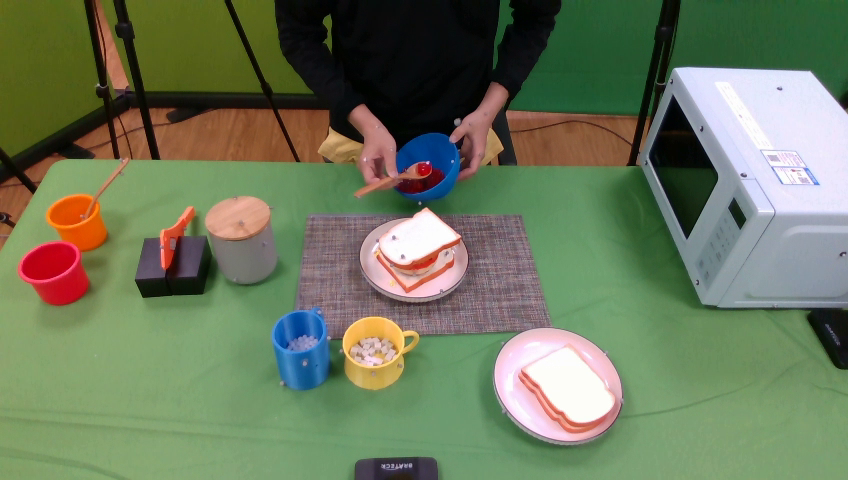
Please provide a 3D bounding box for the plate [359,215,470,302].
[{"bbox_3d":[-0.019,0.038,1.140,0.209,0.038,0.208,2,46,-2],"label":"plate"}]

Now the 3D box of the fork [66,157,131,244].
[{"bbox_3d":[-0.608,-0.074,1.132,0.207,0.019,0.028,-52,48,10],"label":"fork"}]

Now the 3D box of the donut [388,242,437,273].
[{"bbox_3d":[-0.023,0.018,1.120,0.099,0.048,0.098,-10,48,11],"label":"donut"}]

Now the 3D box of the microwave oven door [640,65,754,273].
[{"bbox_3d":[0.523,-0.147,1.193,0.039,0.245,0.353,0,47,-3],"label":"microwave oven door"}]

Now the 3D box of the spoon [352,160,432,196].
[{"bbox_3d":[-0.058,-0.116,1.129,0.194,0.022,0.041,-23,56,-40],"label":"spoon"}]

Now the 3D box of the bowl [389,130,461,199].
[{"bbox_3d":[0.014,-0.136,1.213,0.151,0.077,0.150,-14,55,22],"label":"bowl"}]

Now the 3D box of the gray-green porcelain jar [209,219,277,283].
[{"bbox_3d":[-0.323,0.007,1.092,0.106,0.127,0.105,2,46,-2],"label":"gray-green porcelain jar"}]

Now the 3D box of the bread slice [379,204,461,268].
[{"bbox_3d":[-0.013,-0.003,1.096,0.134,0.018,0.106,-35,50,-21],"label":"bread slice"}]

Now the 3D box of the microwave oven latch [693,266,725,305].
[{"bbox_3d":[0.523,0.081,1.115,0.030,0.029,0.078,3,46,0],"label":"microwave oven latch"}]

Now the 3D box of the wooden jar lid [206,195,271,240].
[{"bbox_3d":[-0.319,-0.036,1.046,0.108,0.021,0.107,1,44,0],"label":"wooden jar lid"}]

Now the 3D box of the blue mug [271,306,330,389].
[{"bbox_3d":[-0.188,0.163,0.969,0.082,0.106,0.116,15,47,10],"label":"blue mug"}]

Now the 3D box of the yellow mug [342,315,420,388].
[{"bbox_3d":[-0.068,0.177,0.990,0.131,0.064,0.099,-15,50,-19],"label":"yellow mug"}]

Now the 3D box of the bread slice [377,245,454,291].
[{"bbox_3d":[-0.010,0.033,1.151,0.131,0.019,0.104,-28,57,-23],"label":"bread slice"}]

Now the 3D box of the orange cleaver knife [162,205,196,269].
[{"bbox_3d":[-0.454,-0.010,1.129,0.012,0.077,0.210,-1,20,-5],"label":"orange cleaver knife"}]

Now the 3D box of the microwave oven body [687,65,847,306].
[{"bbox_3d":[0.669,-0.111,1.176,0.326,0.261,0.439,0,46,-3],"label":"microwave oven body"}]

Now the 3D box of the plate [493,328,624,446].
[{"bbox_3d":[0.213,0.236,0.974,0.208,0.039,0.206,2,46,-2],"label":"plate"}]
